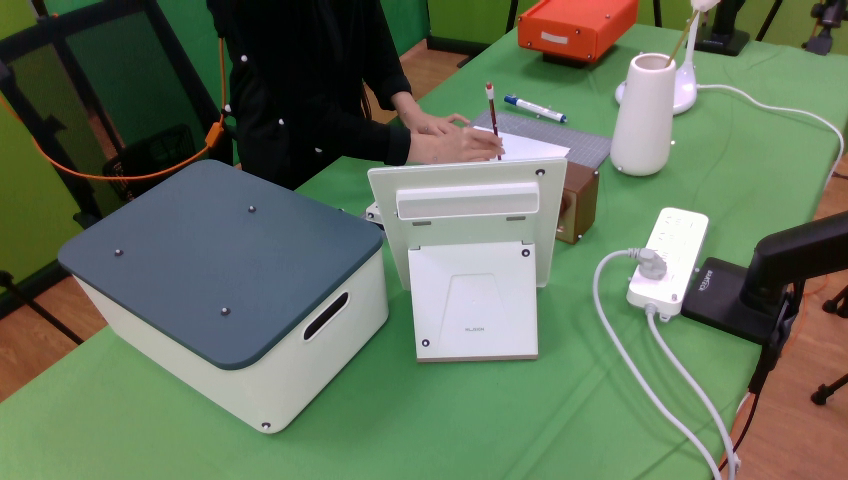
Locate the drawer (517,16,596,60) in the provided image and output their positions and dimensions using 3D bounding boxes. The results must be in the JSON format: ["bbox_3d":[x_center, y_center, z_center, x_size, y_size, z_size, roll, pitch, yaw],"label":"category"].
[{"bbox_3d":[0.352,-0.506,1.405,0.193,0.073,0.212,23,49,32],"label":"drawer"}]

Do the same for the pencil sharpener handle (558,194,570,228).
[{"bbox_3d":[0.195,-0.038,0.908,0.035,0.068,0.031,24,50,30],"label":"pencil sharpener handle"}]

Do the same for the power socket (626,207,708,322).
[{"bbox_3d":[0.359,0.026,0.886,0.072,0.033,0.227,16,46,26],"label":"power socket"}]

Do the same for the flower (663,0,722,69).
[{"bbox_3d":[0.379,-0.261,0.965,0.044,0.362,0.038,20,53,5],"label":"flower"}]

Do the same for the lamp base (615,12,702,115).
[{"bbox_3d":[0.484,-0.364,1.211,0.180,0.181,0.159,-15,41,-14],"label":"lamp base"}]

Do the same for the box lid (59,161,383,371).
[{"bbox_3d":[-0.262,0.009,0.777,0.369,0.015,0.264,21,48,29],"label":"box lid"}]

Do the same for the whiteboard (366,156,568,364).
[{"bbox_3d":[0.059,0.050,0.738,0.217,0.307,0.143,-2,60,6],"label":"whiteboard"}]

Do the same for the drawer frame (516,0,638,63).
[{"bbox_3d":[0.355,-0.508,1.411,0.200,0.083,0.214,23,51,32],"label":"drawer frame"}]

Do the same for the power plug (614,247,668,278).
[{"bbox_3d":[0.306,0.031,0.851,0.072,0.053,0.035,24,49,33],"label":"power plug"}]

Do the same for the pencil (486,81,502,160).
[{"bbox_3d":[0.123,-0.194,1.047,0.012,0.195,0.012,-7,50,9],"label":"pencil"}]

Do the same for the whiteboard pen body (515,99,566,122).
[{"bbox_3d":[0.234,-0.274,1.262,0.139,0.017,0.017,28,51,29],"label":"whiteboard pen body"}]

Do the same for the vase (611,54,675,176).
[{"bbox_3d":[0.377,-0.209,1.031,0.098,0.201,0.097,-3,40,3],"label":"vase"}]

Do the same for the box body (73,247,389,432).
[{"bbox_3d":[-0.255,0.065,0.827,0.361,0.161,0.255,21,48,29],"label":"box body"}]

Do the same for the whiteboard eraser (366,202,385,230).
[{"bbox_3d":[-0.037,-0.038,1.006,0.112,0.042,0.055,16,47,25],"label":"whiteboard eraser"}]

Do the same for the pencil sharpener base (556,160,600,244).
[{"bbox_3d":[0.228,-0.057,0.945,0.061,0.107,0.077,24,50,31],"label":"pencil sharpener base"}]

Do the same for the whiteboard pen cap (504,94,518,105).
[{"bbox_3d":[0.190,-0.299,1.292,0.033,0.018,0.018,30,52,28],"label":"whiteboard pen cap"}]
